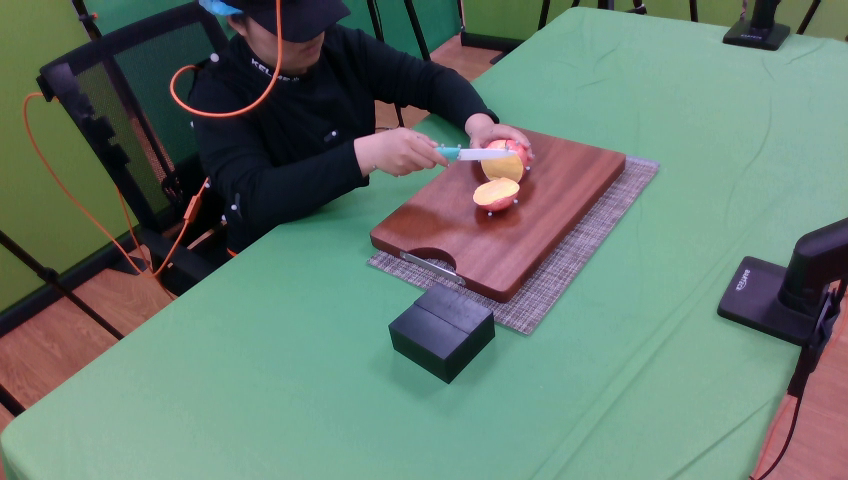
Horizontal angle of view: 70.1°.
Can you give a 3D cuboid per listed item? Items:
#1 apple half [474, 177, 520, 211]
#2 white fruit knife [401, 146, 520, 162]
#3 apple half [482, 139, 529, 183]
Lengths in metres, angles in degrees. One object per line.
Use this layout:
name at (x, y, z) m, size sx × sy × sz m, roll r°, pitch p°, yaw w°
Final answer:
apple half at (0.123, -0.070, 0.994) m, size 0.081 × 0.033 × 0.081 m, roll -17°, pitch 29°, yaw 11°
white fruit knife at (0.055, -0.141, 0.977) m, size 0.206 × 0.027 × 0.016 m, roll 1°, pitch 47°, yaw 23°
apple half at (0.145, -0.138, 1.039) m, size 0.080 × 0.075 × 0.053 m, roll 11°, pitch 40°, yaw 28°
